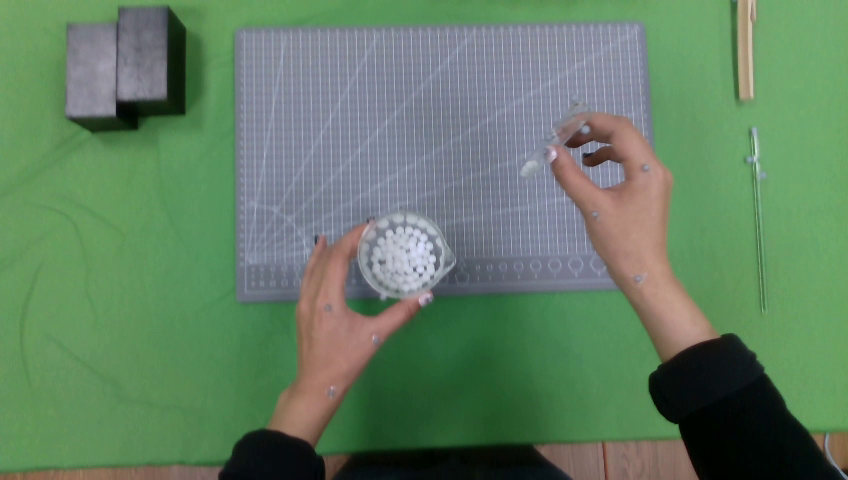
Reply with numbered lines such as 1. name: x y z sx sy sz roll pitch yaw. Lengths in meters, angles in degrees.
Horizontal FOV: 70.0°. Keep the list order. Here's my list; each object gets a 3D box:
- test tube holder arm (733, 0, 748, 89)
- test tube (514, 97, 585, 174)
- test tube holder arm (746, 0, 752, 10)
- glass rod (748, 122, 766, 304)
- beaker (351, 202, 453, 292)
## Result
1. test tube holder arm: 0.351 -0.255 0.670 0.013 0.015 0.178 7 84 -30
2. test tube: 0.097 -0.080 0.493 0.017 0.150 0.017 1 80 -6
3. test tube holder arm: 0.359 -0.299 0.677 0.010 0.015 0.087 7 84 -30
4. glass rod: 0.360 -0.030 0.657 0.008 0.008 0.199 -1 84 -2
5. beaker: -0.019 0.009 0.544 0.084 0.100 0.074 7 87 -1
